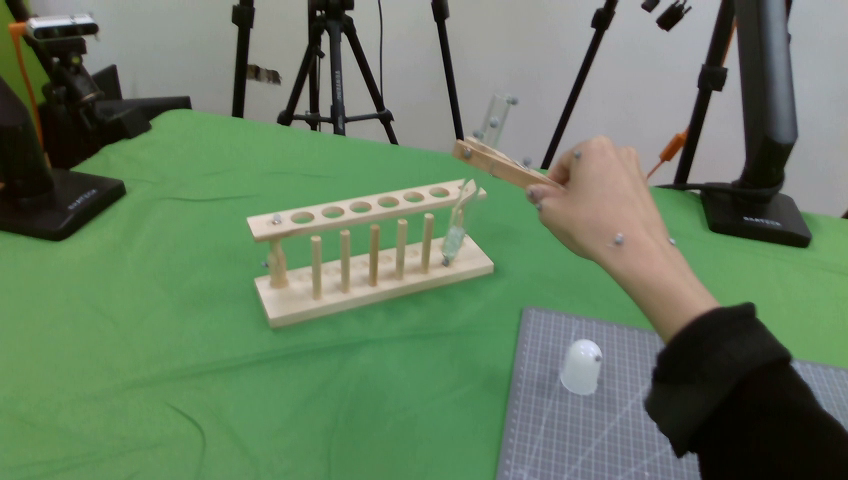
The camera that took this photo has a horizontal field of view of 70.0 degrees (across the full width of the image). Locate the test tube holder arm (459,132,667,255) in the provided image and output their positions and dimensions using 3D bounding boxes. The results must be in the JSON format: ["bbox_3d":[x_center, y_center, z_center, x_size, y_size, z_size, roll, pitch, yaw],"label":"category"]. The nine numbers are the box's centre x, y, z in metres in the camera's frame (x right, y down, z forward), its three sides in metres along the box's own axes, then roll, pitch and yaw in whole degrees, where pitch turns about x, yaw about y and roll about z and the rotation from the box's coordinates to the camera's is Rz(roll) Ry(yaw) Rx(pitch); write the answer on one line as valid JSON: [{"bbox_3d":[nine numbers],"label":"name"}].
[{"bbox_3d":[0.096,-0.038,0.450,0.177,0.015,0.013,32,37,24],"label":"test tube holder arm"}]

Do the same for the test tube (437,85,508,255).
[{"bbox_3d":[0.036,-0.051,0.486,0.017,0.151,0.017,13,30,-7],"label":"test tube"}]

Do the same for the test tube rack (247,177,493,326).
[{"bbox_3d":[-0.046,0.006,0.615,0.243,0.086,0.066,-12,38,-23],"label":"test tube rack"}]

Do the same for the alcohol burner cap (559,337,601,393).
[{"bbox_3d":[0.137,0.105,0.525,0.034,0.048,0.033,3,35,-2],"label":"alcohol burner cap"}]

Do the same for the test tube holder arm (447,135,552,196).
[{"bbox_3d":[0.058,-0.057,0.463,0.087,0.015,0.010,28,35,18],"label":"test tube holder arm"}]
